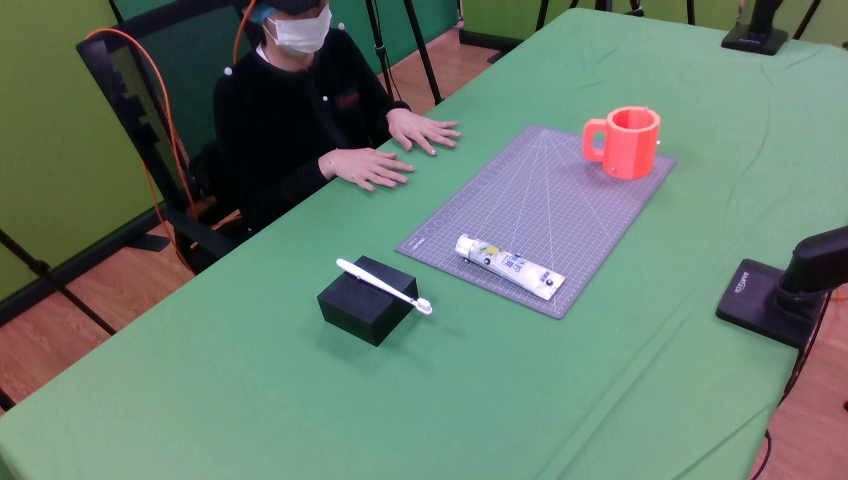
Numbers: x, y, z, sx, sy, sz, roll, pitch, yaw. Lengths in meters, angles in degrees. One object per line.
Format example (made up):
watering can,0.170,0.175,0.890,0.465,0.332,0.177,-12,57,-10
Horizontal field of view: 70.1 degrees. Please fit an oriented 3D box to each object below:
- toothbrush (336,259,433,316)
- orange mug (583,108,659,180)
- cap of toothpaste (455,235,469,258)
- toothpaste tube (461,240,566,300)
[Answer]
toothbrush,-0.059,0.062,0.839,0.180,0.017,0.014,24,54,33
orange mug,0.343,-0.171,1.061,0.126,0.101,0.083,10,43,15
cap of toothpaste,0.062,0.010,0.936,0.011,0.037,0.037,23,49,27
toothpaste tube,0.125,0.040,0.900,0.164,0.035,0.055,23,55,26
